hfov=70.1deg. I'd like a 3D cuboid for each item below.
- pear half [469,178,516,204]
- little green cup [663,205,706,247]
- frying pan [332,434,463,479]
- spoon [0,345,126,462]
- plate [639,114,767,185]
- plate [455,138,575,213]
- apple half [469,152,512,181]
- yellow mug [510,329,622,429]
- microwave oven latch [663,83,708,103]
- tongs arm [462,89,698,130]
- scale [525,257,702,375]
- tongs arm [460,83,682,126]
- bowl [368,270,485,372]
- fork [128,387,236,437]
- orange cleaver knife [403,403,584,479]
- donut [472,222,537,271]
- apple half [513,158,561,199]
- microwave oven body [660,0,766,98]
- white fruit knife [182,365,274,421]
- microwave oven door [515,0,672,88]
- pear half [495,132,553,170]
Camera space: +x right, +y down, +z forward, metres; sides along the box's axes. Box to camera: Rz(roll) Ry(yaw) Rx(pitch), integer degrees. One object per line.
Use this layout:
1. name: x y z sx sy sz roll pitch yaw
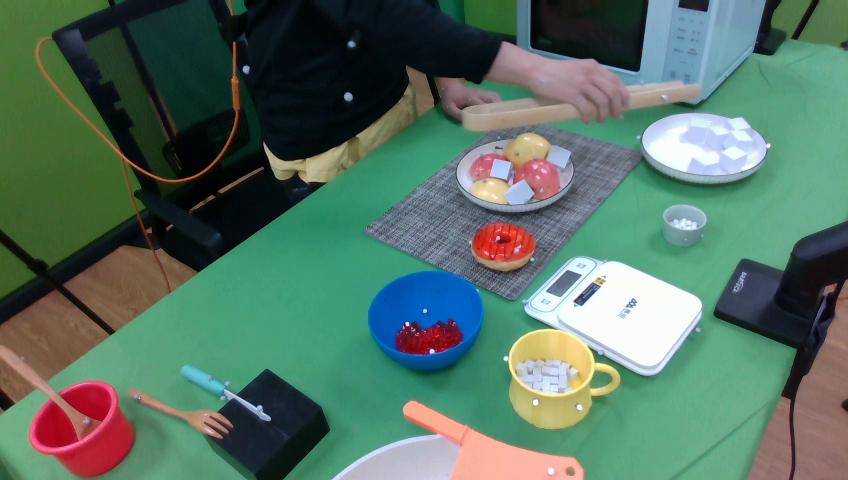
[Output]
1. pear half: 0.115 -0.090 1.036 0.087 0.031 0.071 28 39 33
2. little green cup: 0.396 -0.020 0.926 0.061 0.039 0.061 -4 40 4
3. frying pan: -0.089 0.306 0.564 0.487 0.103 0.306 10 41 7
4. spoon: -0.434 0.192 0.720 0.194 0.021 0.042 47 53 -6
5. plate: 0.489 -0.157 1.074 0.207 0.039 0.206 -4 40 4
6. plate: 0.159 -0.111 1.063 0.209 0.038 0.208 -4 40 4
7. apple half: 0.120 -0.139 1.088 0.081 0.033 0.081 -1 43 1
8. yellow mug: 0.168 0.164 0.721 0.130 0.064 0.099 0 40 8
9. microwave oven latch: 0.518 -0.296 1.204 0.078 0.029 0.030 28 52 35
10. tongs arm: 0.249 -0.204 0.936 0.389 0.028 0.028 -8 33 -10
11. scale: 0.254 0.091 0.821 0.199 0.032 0.149 28 51 35
12. tongs arm: 0.243 -0.216 0.959 0.386 0.026 0.050 -7 30 -8
13. bowl: 0.007 0.119 0.791 0.151 0.077 0.150 -5 39 4
14. fork: -0.305 0.207 0.744 0.206 0.019 0.028 3 41 36
15. orange cleaver knife: 0.062 0.223 0.609 0.210 0.012 0.077 15 47 25
16. donut: 0.123 0.009 0.923 0.099 0.048 0.098 -4 37 3
17. apple half: 0.193 -0.111 1.031 0.080 0.053 0.075 11 41 26
18. microwave oven body: 0.472 -0.513 1.317 0.438 0.261 0.327 26 51 34
19. white fruit knife: -0.245 0.188 0.747 0.205 0.027 0.016 9 42 41
20. microwave oven door: 0.343 -0.455 1.259 0.353 0.245 0.039 26 51 33
21. pear half: 0.174 -0.167 1.094 0.109 0.056 0.076 15 53 30
